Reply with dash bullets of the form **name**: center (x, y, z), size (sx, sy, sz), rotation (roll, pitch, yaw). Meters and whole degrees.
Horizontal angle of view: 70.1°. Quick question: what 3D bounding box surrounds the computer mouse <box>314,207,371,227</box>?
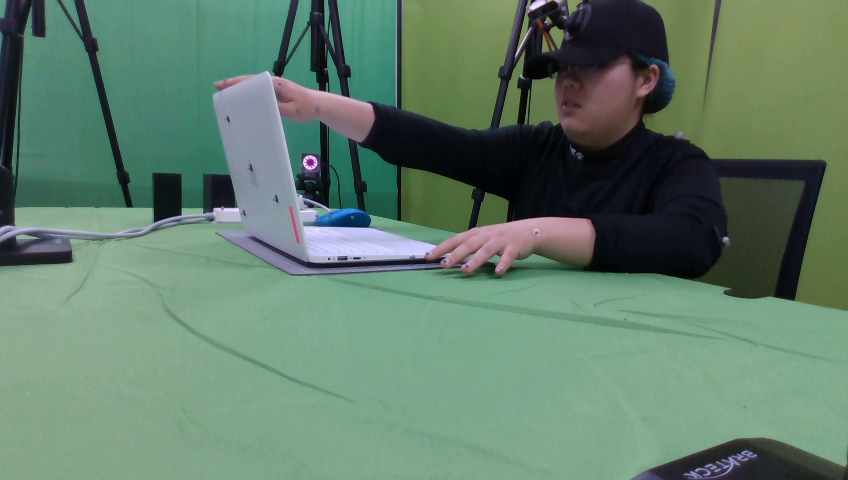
- **computer mouse**: center (-0.175, -0.048, 1.292), size (0.118, 0.041, 0.062), rotation (-7, 12, -34)

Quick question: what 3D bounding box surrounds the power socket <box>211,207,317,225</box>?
- **power socket**: center (-0.334, -0.051, 1.282), size (0.228, 0.032, 0.072), rotation (-2, 9, -28)

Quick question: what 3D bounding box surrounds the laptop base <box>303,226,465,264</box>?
- **laptop base**: center (-0.124, 0.006, 0.955), size (0.237, 0.023, 0.352), rotation (2, 6, -30)

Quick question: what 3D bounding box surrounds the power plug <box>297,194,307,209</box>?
- **power plug**: center (-0.280, -0.076, 1.340), size (0.035, 0.052, 0.072), rotation (3, 5, -17)

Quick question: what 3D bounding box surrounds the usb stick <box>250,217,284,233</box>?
- **usb stick**: center (-0.291, -0.028, 1.118), size (0.059, 0.027, 0.021), rotation (0, 9, -28)

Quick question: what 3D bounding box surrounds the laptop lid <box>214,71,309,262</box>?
- **laptop lid**: center (-0.245, -0.105, 0.870), size (0.013, 0.241, 0.355), rotation (-16, 16, -27)
